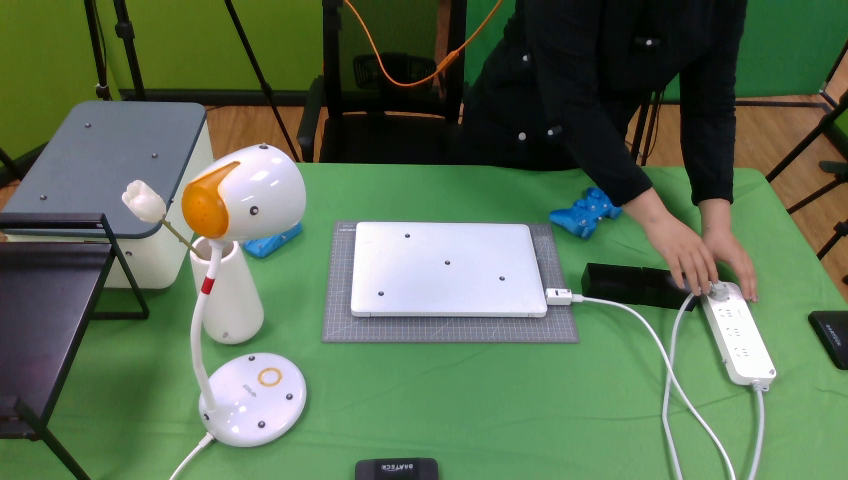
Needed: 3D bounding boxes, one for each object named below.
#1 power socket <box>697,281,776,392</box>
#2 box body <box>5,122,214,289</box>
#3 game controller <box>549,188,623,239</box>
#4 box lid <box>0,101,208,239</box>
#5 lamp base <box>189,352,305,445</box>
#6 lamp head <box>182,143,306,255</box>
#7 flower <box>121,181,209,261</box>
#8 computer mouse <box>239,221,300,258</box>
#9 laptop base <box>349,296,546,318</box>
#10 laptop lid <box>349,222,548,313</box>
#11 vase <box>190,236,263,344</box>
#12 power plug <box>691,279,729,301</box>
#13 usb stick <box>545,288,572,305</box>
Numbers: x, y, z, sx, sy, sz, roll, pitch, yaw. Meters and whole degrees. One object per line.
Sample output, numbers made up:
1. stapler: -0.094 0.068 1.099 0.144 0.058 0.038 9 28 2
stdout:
1. power socket: 0.551 0.161 1.078 0.072 0.033 0.225 2 46 -1
2. box body: -0.563 -0.087 1.139 0.254 0.161 0.361 2 46 -3
3. game controller: 0.346 -0.064 1.272 0.155 0.052 0.096 -31 57 -28
4. box lid: -0.559 -0.138 1.084 0.263 0.015 0.369 2 46 -2
5. lamp base: -0.268 0.197 0.876 0.160 0.181 0.179 25 52 20
6. lamp head: -0.215 -0.044 0.697 0.112 0.113 0.123 23 31 17
7. flower: -0.328 0.029 0.905 0.038 0.364 0.044 -23 58 -1
8. computer mouse: -0.300 -0.016 1.178 0.062 0.041 0.117 35 57 22
9. laptop base: 0.041 0.056 1.149 0.355 0.023 0.234 1 43 -4
10. laptop lid: 0.042 0.046 1.142 0.357 0.013 0.240 2 44 -3
11. vase: -0.317 0.081 0.971 0.098 0.201 0.097 3 47 -3
12. power plug: 0.522 0.092 1.116 0.072 0.053 0.035 10 47 9
13. usb stick: 0.237 0.103 1.100 0.059 0.027 0.021 0 49 0
